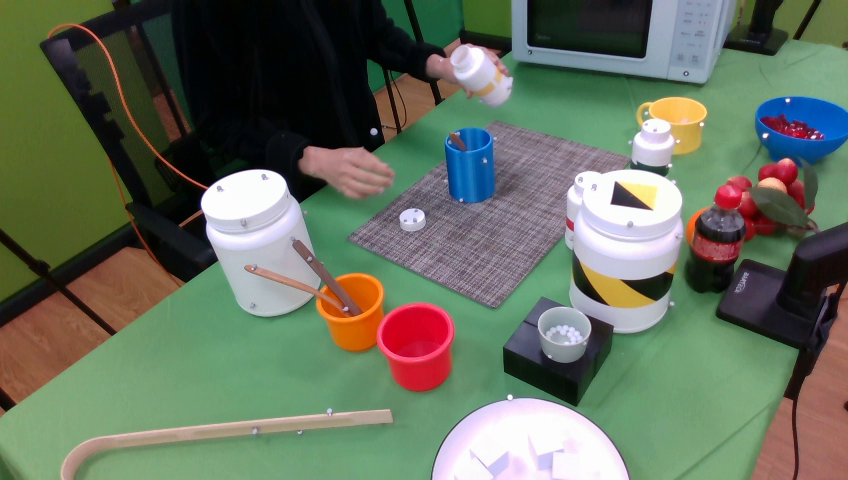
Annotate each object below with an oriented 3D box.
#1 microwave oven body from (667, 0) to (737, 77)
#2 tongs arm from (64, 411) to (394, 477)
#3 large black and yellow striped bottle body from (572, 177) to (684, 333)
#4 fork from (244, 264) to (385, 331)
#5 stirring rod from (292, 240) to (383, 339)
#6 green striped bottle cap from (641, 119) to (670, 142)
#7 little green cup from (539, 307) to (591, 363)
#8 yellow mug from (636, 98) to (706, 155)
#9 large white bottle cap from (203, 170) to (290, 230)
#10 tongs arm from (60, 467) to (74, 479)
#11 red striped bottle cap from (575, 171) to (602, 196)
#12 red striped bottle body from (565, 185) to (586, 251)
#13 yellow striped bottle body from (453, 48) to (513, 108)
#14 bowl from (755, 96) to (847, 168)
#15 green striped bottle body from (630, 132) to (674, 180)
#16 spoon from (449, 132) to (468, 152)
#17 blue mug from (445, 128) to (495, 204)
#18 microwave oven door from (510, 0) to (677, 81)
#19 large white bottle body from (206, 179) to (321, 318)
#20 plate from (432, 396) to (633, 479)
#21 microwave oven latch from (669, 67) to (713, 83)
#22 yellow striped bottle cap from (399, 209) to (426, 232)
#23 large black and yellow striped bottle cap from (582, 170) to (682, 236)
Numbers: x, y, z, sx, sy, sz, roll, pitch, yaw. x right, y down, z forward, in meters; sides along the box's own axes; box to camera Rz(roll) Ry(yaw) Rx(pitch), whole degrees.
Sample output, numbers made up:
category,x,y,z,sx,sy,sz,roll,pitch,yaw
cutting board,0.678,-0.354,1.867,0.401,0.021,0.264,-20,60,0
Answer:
category,x,y,z,sx,sy,sz,roll,pitch,yaw
microwave oven body,0.462,-0.552,1.369,0.439,0.261,0.326,15,45,26
tongs arm,-0.228,0.241,0.715,0.385,0.026,0.050,-5,43,4
large black and yellow striped bottle body,0.262,0.017,0.788,0.131,0.185,0.130,-5,40,4
fork,-0.142,0.078,0.806,0.209,0.018,0.028,30,32,-24
stirring rod,-0.118,0.068,0.826,0.176,0.006,0.014,49,59,-4
green striped bottle cap,0.371,-0.175,0.968,0.044,0.020,0.044,-5,41,5
little green cup,0.167,0.114,0.721,0.061,0.039,0.061,-4,43,4
yellow mug,0.453,-0.217,1.128,0.100,0.064,0.129,-34,46,-27
large white bottle cap,-0.241,-0.057,0.822,0.115,0.018,0.114,-4,41,4
tongs arm,-0.239,0.301,0.648,0.386,0.028,0.028,6,49,16
red striped bottle cap,0.242,-0.081,0.876,0.044,0.018,0.044,-5,44,5
red striped bottle body,0.247,-0.041,0.910,0.063,0.120,0.062,-4,39,3
yellow striped bottle body,0.100,-0.288,1.060,0.062,0.121,0.062,-17,60,34
bowl,0.645,-0.177,1.041,0.151,0.077,0.150,-5,40,4
green striped bottle body,0.376,-0.135,1.001,0.063,0.120,0.063,-5,41,5
spoon,0.067,-0.143,0.998,0.041,0.195,0.021,9,79,18
blue mug,0.081,-0.139,1.058,0.082,0.106,0.116,-4,40,4
microwave oven door,0.354,-0.478,1.290,0.353,0.245,0.039,15,45,25
large white bottle body,-0.233,0.007,0.876,0.130,0.185,0.130,-5,40,4
plate,0.112,0.261,0.634,0.209,0.038,0.208,-5,40,4
microwave oven latch,0.556,-0.348,1.261,0.078,0.029,0.030,16,46,27
yellow striped bottle cap,-0.019,-0.032,1.018,0.044,0.019,0.044,-4,40,4
large black and yellow striped bottle cap,0.252,-0.048,0.735,0.115,0.019,0.114,-3,40,3
